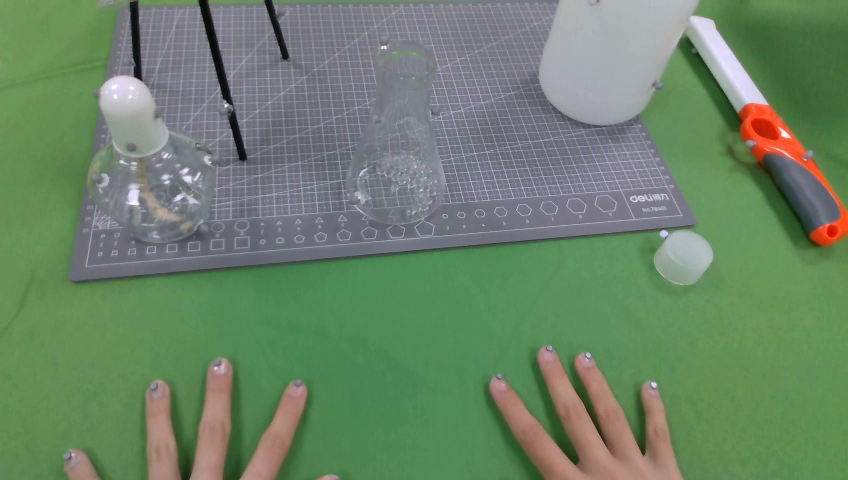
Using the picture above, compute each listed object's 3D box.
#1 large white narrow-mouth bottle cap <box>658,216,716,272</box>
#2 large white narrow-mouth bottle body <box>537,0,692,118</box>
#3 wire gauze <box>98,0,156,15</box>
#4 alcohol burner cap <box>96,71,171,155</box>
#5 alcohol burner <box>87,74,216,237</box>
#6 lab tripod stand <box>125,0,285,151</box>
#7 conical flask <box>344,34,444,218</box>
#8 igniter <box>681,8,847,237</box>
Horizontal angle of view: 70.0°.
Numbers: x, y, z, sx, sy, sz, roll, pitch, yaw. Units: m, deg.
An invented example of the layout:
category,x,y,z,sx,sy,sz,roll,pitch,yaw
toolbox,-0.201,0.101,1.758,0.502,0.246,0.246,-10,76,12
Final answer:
category,x,y,z,sx,sy,sz,roll,pitch,yaw
large white narrow-mouth bottle cap,0.193,0.003,0.447,0.038,0.024,0.037,3,55,-4
large white narrow-mouth bottle body,0.157,-0.196,0.471,0.102,0.196,0.101,3,55,-4
wire gauze,-0.156,-0.199,0.391,0.122,0.011,0.124,-18,63,-17
alcohol burner cap,-0.170,-0.075,0.351,0.034,0.048,0.033,3,60,-5
alcohol burner,-0.174,-0.056,0.381,0.078,0.120,0.077,5,53,-6
lab tripod stand,-0.158,-0.160,0.443,0.148,0.132,0.147,5,55,-6
conical flask,-0.017,-0.077,0.410,0.075,0.123,0.074,3,54,-4
igniter,0.295,-0.115,0.538,0.057,0.025,0.273,2,54,-19
